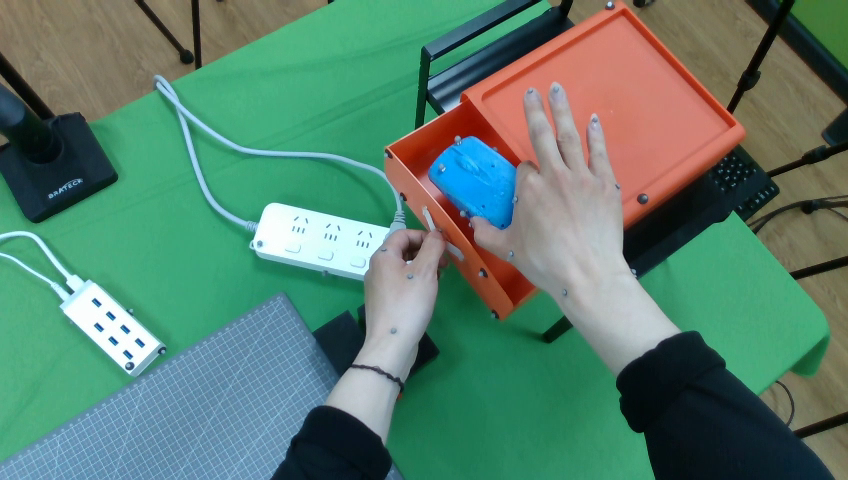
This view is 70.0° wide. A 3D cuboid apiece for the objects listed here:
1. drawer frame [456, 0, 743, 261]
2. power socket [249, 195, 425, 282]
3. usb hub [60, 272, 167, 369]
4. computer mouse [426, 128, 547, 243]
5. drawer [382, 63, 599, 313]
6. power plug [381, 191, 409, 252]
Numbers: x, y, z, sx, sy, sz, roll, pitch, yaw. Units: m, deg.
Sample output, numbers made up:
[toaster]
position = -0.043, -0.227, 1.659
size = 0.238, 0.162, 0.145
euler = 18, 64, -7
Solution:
[drawer frame]
position = 0.172, -0.119, 0.626
size = 0.213, 0.083, 0.200
euler = -34, 76, -15
[power socket]
position = -0.110, -0.002, 0.779
size = 0.227, 0.033, 0.072
euler = 13, 70, 0
[usb hub]
position = -0.374, 0.096, 0.729
size = 0.124, 0.025, 0.049
euler = 39, 73, 9
[computer mouse]
position = 0.057, -0.054, 0.564
size = 0.063, 0.041, 0.116
euler = -40, 72, -7
[drawer]
position = 0.097, -0.066, 0.603
size = 0.212, 0.073, 0.193
euler = -35, 77, -15
[power plug]
position = -0.029, -0.019, 0.771
size = 0.035, 0.053, 0.072
euler = 24, 69, 5
